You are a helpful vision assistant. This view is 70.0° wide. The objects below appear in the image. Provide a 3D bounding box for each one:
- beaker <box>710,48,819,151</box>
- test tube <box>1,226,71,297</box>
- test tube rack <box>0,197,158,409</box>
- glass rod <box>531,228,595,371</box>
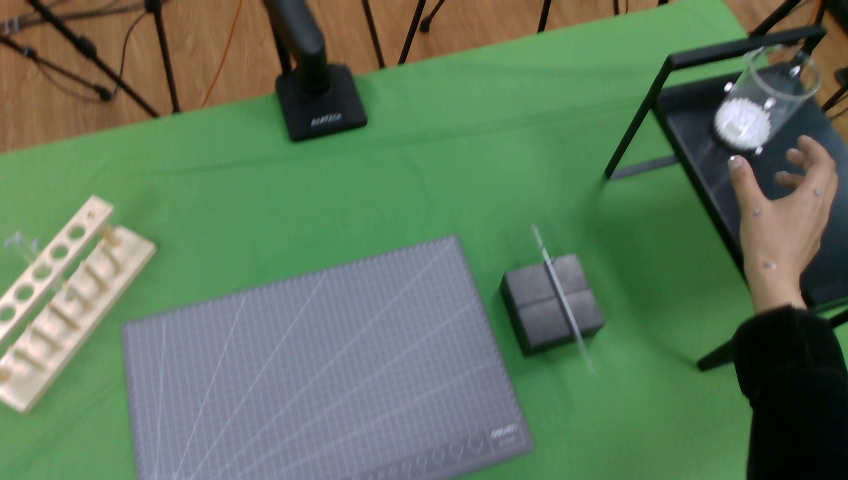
[{"bbox_3d":[0.376,-0.156,0.686,0.083,0.101,0.074,34,66,13],"label":"beaker"},{"bbox_3d":[-0.445,0.028,0.702,0.017,0.151,0.017,3,59,-4],"label":"test tube"},{"bbox_3d":[-0.441,0.073,0.735,0.066,0.086,0.241,26,65,10],"label":"test tube rack"},{"bbox_3d":[0.172,0.070,0.760,0.008,0.008,0.198,-15,66,-10],"label":"glass rod"}]
